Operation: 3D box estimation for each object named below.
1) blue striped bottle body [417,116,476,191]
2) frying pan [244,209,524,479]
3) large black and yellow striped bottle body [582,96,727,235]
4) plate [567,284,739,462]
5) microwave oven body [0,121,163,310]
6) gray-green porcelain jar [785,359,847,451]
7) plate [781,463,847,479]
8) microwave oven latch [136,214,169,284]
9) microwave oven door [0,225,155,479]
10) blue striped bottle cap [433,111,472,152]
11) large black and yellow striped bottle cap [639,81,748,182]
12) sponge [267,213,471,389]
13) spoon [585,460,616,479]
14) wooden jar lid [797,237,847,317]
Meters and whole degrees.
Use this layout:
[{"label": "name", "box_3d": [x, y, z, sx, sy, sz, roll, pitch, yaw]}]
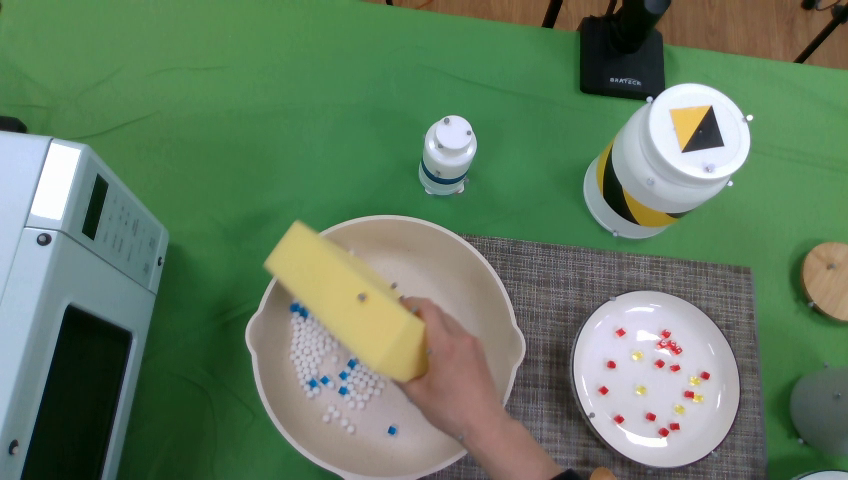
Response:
[{"label": "blue striped bottle body", "box_3d": [0.028, -0.110, 0.743, 0.063, 0.121, 0.062, 2, 73, -6]}, {"label": "frying pan", "box_3d": [-0.049, 0.205, 0.649, 0.307, 0.103, 0.484, 5, 65, -2]}, {"label": "large black and yellow striped bottle body", "box_3d": [0.283, -0.093, 0.735, 0.131, 0.184, 0.130, 2, 73, -5]}, {"label": "plate", "box_3d": [0.272, 0.158, 0.733, 0.209, 0.038, 0.208, 2, 74, -5]}, {"label": "microwave oven body", "box_3d": [-0.469, 0.132, 0.540, 0.326, 0.261, 0.439, 7, 74, -5]}, {"label": "gray-green porcelain jar", "box_3d": [0.502, 0.192, 0.706, 0.106, 0.127, 0.105, 2, 73, -6]}, {"label": "plate", "box_3d": [0.476, 0.366, 0.700, 0.208, 0.039, 0.206, 2, 73, -6]}, {"label": "microwave oven latch", "box_3d": [-0.315, 0.009, 0.694, 0.030, 0.029, 0.078, 10, 74, -4]}, {"label": "microwave oven door", "box_3d": [-0.329, 0.188, 0.534, 0.039, 0.245, 0.353, 7, 73, -4]}, {"label": "blue striped bottle cap", "box_3d": [0.032, -0.125, 0.694, 0.044, 0.021, 0.044, 2, 71, -4]}, {"label": "large black and yellow striped bottle cap", "box_3d": [0.291, -0.118, 0.653, 0.115, 0.019, 0.114, 2, 72, -5]}, {"label": "sponge", "box_3d": [-0.061, 0.062, 0.640, 0.204, 0.119, 0.061, 36, 89, 39]}, {"label": "spoon", "box_3d": [0.252, 0.330, 0.690, 0.193, 0.022, 0.041, 46, 57, 6]}, {"label": "wooden jar lid", "box_3d": [0.548, 0.050, 0.808, 0.108, 0.021, 0.108, 2, 75, -5]}]
